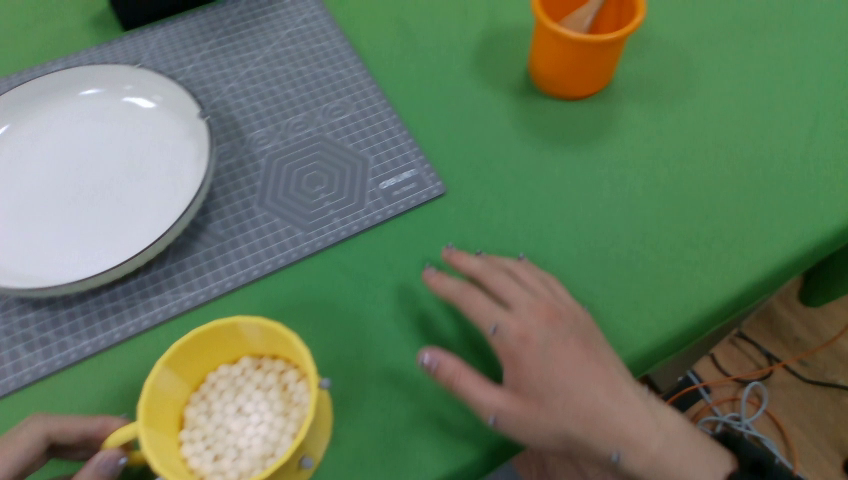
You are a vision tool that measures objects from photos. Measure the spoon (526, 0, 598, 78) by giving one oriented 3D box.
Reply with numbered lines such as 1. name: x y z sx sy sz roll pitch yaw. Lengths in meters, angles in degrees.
1. spoon: 0.151 -0.216 0.497 0.194 0.022 0.041 -50 63 19

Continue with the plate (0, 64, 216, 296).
1. plate: -0.261 -0.047 0.463 0.208 0.039 0.206 0 60 0

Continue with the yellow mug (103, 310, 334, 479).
1. yellow mug: -0.124 0.105 0.366 0.131 0.064 0.099 -17 62 -9
